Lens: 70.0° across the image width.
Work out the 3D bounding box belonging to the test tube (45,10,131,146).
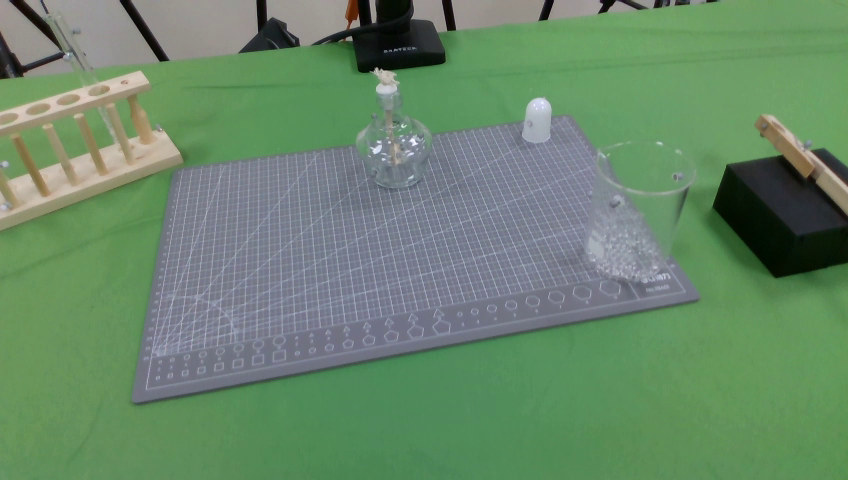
[{"bbox_3d":[-0.337,-0.158,0.615,0.017,0.152,0.017,-4,46,4],"label":"test tube"}]

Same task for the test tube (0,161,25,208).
[{"bbox_3d":[-0.411,-0.091,0.555,0.017,0.152,0.017,-3,42,3],"label":"test tube"}]

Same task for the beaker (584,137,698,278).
[{"bbox_3d":[0.171,-0.025,0.502,0.074,0.101,0.083,-31,49,-26],"label":"beaker"}]

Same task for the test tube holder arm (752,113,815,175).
[{"bbox_3d":[0.329,-0.089,0.553,0.010,0.015,0.087,-4,42,-9],"label":"test tube holder arm"}]

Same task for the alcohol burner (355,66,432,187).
[{"bbox_3d":[-0.032,-0.113,0.598,0.078,0.120,0.077,-3,42,3],"label":"alcohol burner"}]

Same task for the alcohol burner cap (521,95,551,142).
[{"bbox_3d":[0.124,-0.136,0.666,0.034,0.048,0.033,-2,43,2],"label":"alcohol burner cap"}]

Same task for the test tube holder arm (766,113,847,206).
[{"bbox_3d":[0.343,-0.059,0.521,0.013,0.015,0.176,-4,42,-10],"label":"test tube holder arm"}]

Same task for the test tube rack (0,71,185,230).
[{"bbox_3d":[-0.383,-0.085,0.612,0.242,0.086,0.066,-26,48,-23],"label":"test tube rack"}]
